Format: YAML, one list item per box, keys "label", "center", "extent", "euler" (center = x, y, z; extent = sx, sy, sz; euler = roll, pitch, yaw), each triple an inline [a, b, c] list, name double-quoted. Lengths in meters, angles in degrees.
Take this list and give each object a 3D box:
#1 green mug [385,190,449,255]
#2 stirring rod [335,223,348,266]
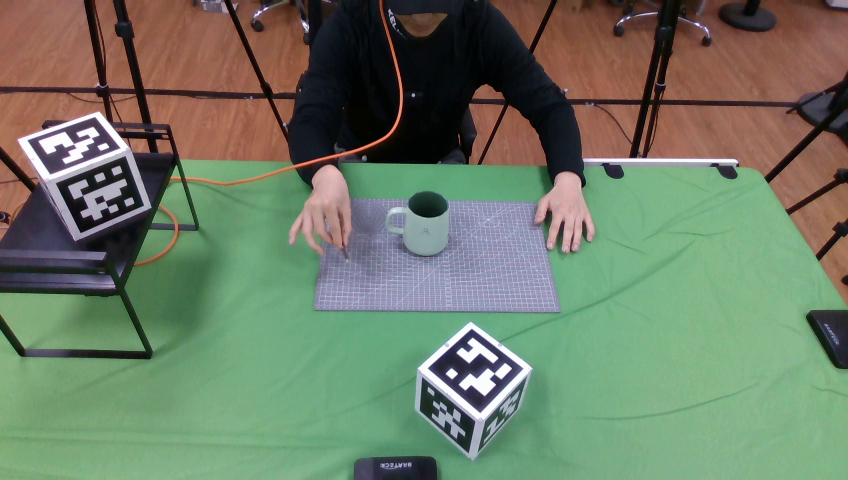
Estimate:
- label: "green mug"
  center: [-0.013, -0.033, 1.166]
  extent: [0.125, 0.105, 0.092]
  euler: [2, 46, -2]
- label: "stirring rod"
  center: [-0.155, 0.006, 1.132]
  extent: [0.006, 0.014, 0.175]
  euler: [-15, 26, -8]
